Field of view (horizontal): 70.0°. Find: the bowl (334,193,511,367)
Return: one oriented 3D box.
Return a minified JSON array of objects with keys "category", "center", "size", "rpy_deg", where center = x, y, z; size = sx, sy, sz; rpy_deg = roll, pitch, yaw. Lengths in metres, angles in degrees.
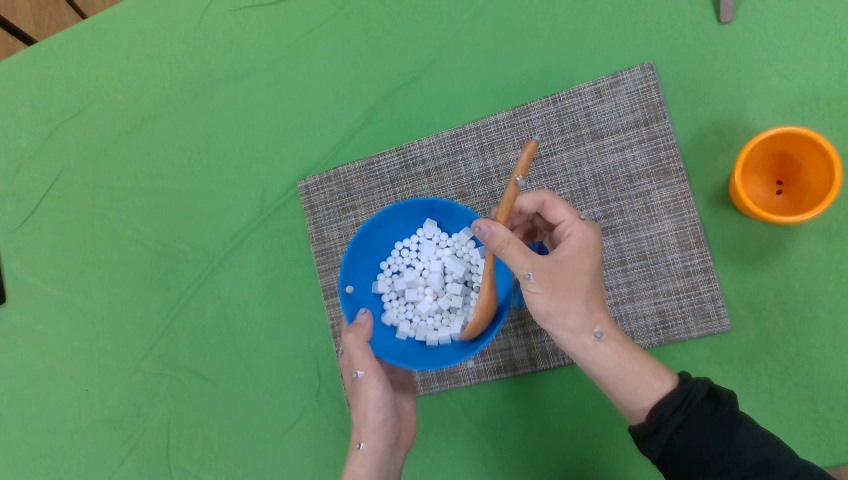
[{"category":"bowl","center":[0.000,0.040,0.550],"size":[0.151,0.077,0.150],"rpy_deg":[0,78,2]}]

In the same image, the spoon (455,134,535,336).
[{"category":"spoon","center":[0.053,0.005,0.470],"size":[0.021,0.041,0.195],"rpy_deg":[29,129,27]}]

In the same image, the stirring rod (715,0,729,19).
[{"category":"stirring rod","center":[0.305,-0.320,0.622],"size":[0.014,0.006,0.177],"rpy_deg":[-7,108,10]}]

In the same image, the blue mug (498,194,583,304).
[{"category":"blue mug","center":[0.118,0.014,0.642],"size":[0.082,0.106,0.116],"rpy_deg":[24,95,16]}]
